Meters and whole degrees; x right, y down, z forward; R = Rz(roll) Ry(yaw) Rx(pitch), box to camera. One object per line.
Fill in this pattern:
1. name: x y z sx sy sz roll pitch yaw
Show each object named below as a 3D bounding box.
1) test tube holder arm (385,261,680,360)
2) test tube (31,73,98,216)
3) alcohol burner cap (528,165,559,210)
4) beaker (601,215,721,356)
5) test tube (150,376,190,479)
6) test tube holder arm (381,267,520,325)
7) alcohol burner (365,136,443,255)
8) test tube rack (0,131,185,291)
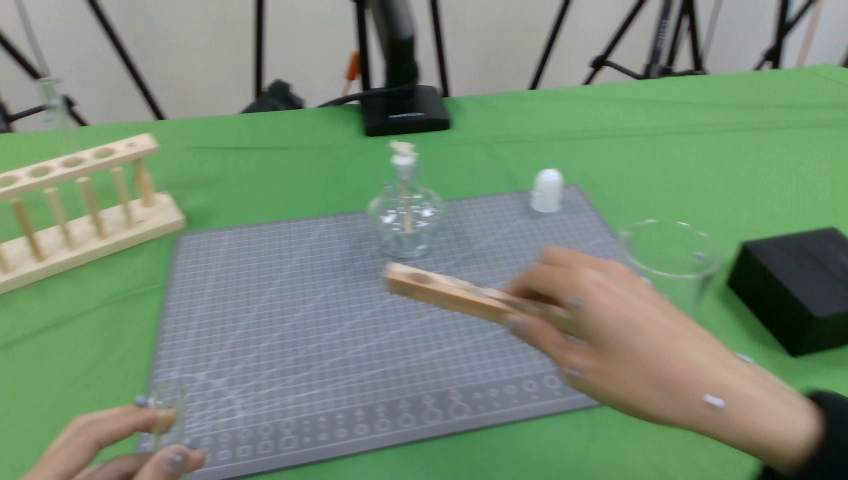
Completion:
1. test tube holder arm: 0.060 0.041 0.362 0.178 0.015 0.013 13 44 12
2. test tube: -0.347 -0.087 0.589 0.017 0.151 0.017 1 36 0
3. alcohol burner cap: 0.132 -0.061 0.667 0.034 0.048 0.033 0 39 0
4. beaker: 0.185 0.039 0.498 0.074 0.101 0.083 -29 46 -31
5. test tube: -0.135 0.134 0.327 0.017 0.151 0.017 8 29 -4
6. test tube holder arm: 0.015 0.034 0.368 0.087 0.015 0.010 14 44 13
7. alcohol burner: -0.021 -0.045 0.591 0.078 0.120 0.077 -1 38 1
8. test tube rack: -0.372 -0.022 0.587 0.243 0.086 0.066 -24 45 -27
